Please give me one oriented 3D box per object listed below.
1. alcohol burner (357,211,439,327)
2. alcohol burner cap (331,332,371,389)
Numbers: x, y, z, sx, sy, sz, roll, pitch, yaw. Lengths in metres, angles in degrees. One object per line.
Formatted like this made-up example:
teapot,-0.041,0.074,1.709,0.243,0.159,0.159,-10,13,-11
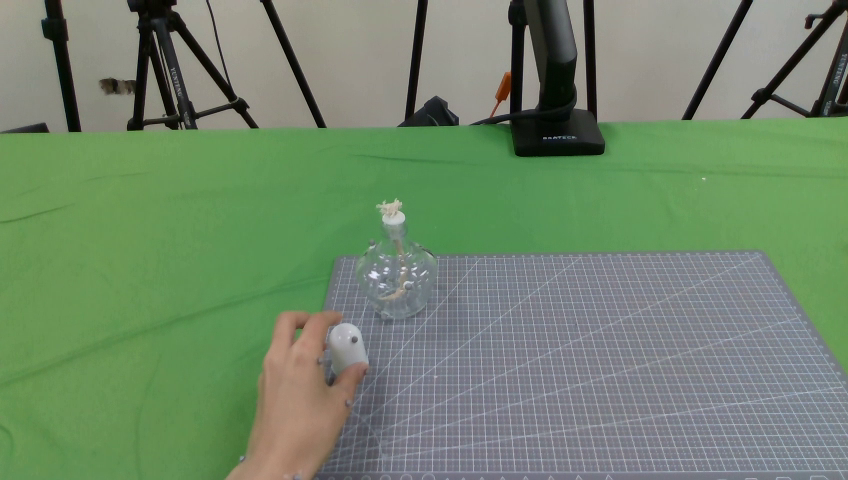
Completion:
alcohol burner,-0.024,0.022,0.556,0.078,0.120,0.077,-1,38,1
alcohol burner cap,-0.063,0.099,0.514,0.034,0.048,0.033,-1,37,1
